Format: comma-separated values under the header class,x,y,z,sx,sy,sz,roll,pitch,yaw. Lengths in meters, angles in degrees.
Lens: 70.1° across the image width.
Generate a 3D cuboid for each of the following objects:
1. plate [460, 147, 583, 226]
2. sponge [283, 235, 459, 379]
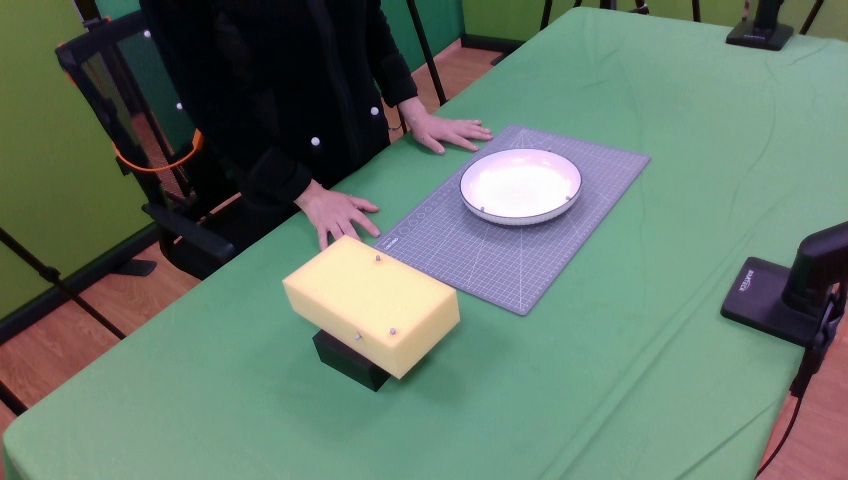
class,x,y,z,sx,sy,sz,roll,pitch,yaw
plate,0.166,-0.089,1.043,0.209,0.038,0.208,-5,40,5
sponge,-0.071,0.081,0.798,0.205,0.061,0.118,25,51,34
